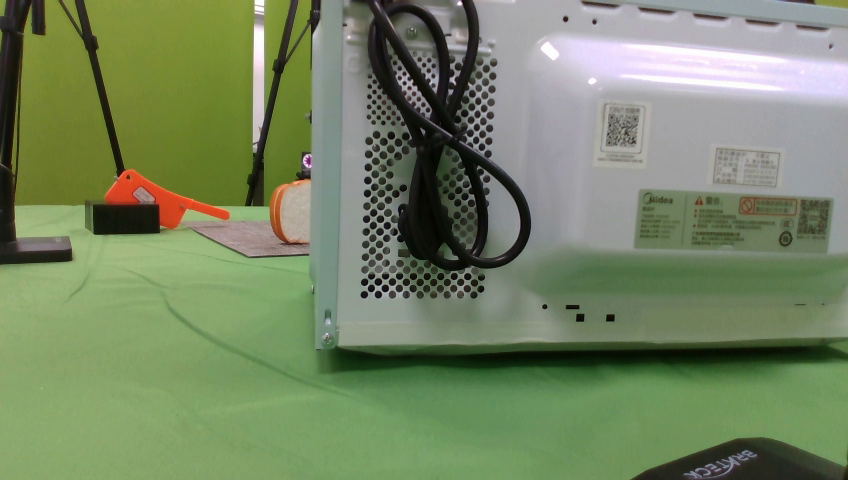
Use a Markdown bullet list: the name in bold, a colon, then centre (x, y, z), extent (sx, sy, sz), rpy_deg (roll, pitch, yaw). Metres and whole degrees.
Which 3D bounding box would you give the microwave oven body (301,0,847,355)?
- **microwave oven body**: centre (0.120, -0.053, 0.535), extent (0.443, 0.260, 0.325), rpy_deg (2, 7, -11)

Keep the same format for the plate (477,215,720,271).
- **plate**: centre (0.152, -0.001, 0.545), extent (0.208, 0.039, 0.207), rpy_deg (0, 5, 0)

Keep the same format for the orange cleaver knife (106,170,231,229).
- **orange cleaver knife**: centre (-0.458, -0.060, 1.097), extent (0.212, 0.077, 0.012), rpy_deg (23, -4, -38)

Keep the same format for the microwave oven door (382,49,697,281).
- **microwave oven door**: centre (0.135, -0.077, 0.685), extent (0.357, 0.243, 0.039), rpy_deg (1, 8, -12)

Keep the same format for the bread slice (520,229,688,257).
- **bread slice**: centre (0.172, 0.002, 0.564), extent (0.134, 0.018, 0.107), rpy_deg (-2, 4, 30)

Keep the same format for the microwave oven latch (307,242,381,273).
- **microwave oven latch**: centre (-0.086, 0.019, 0.656), extent (0.079, 0.029, 0.030), rpy_deg (2, 7, -10)
